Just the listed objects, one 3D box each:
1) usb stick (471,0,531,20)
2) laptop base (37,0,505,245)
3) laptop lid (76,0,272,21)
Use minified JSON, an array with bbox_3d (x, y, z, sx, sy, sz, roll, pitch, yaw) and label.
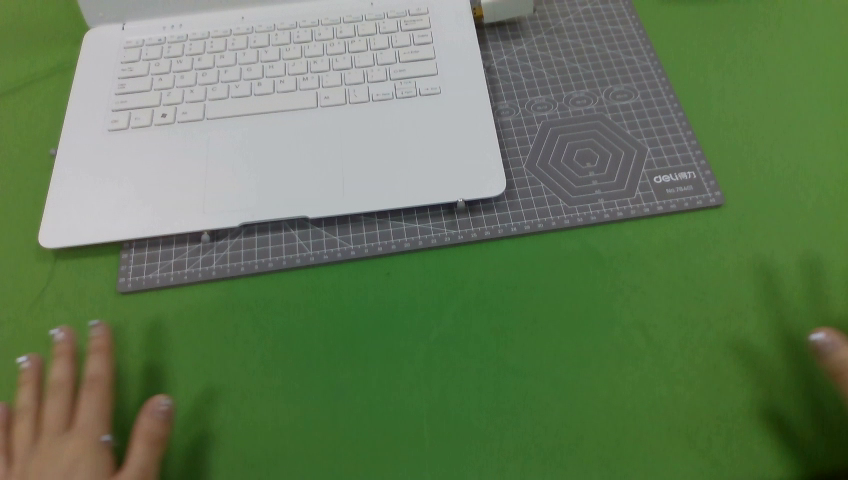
[{"bbox_3d":[0.064,-0.213,0.535,0.059,0.027,0.021,-9,62,11],"label":"usb stick"},{"bbox_3d":[-0.124,-0.115,0.507,0.354,0.023,0.233,-7,64,-1],"label":"laptop base"},{"bbox_3d":[-0.146,-0.311,0.496,0.357,0.244,0.013,-8,35,0],"label":"laptop lid"}]
